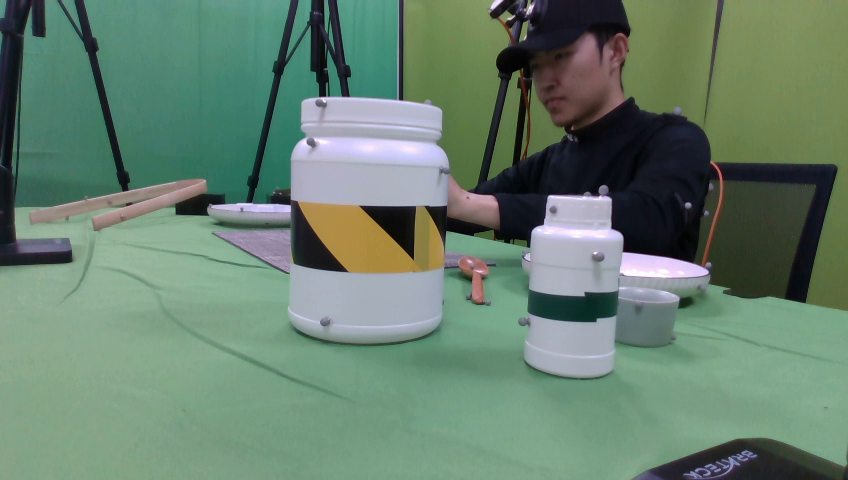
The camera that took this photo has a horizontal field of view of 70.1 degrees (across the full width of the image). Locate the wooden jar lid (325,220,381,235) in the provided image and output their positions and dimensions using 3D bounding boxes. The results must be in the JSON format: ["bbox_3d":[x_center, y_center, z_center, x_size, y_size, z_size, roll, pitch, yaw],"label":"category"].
[{"bbox_3d":[-0.136,-0.025,1.162,0.108,0.020,0.108,3,8,0],"label":"wooden jar lid"}]

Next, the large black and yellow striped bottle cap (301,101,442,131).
[{"bbox_3d":[-0.042,-0.100,0.491,0.115,0.019,0.115,1,8,0],"label":"large black and yellow striped bottle cap"}]

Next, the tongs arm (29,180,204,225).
[{"bbox_3d":[-0.609,-0.083,1.245,0.050,0.026,0.386,5,16,23],"label":"tongs arm"}]

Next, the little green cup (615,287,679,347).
[{"bbox_3d":[0.180,0.064,0.506,0.061,0.038,0.061,2,8,0],"label":"little green cup"}]

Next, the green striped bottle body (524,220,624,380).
[{"bbox_3d":[0.104,0.031,0.422,0.063,0.119,0.063,2,8,0],"label":"green striped bottle body"}]

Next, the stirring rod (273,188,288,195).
[{"bbox_3d":[-0.353,-0.122,1.518,0.006,0.014,0.176,1,7,2],"label":"stirring rod"}]

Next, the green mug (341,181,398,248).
[{"bbox_3d":[-0.090,-0.044,0.997,0.093,0.105,0.125,1,7,-9],"label":"green mug"}]

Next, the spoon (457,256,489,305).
[{"bbox_3d":[0.059,0.044,0.696,0.041,0.021,0.194,21,7,0],"label":"spoon"}]

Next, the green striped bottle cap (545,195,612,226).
[{"bbox_3d":[0.106,-0.020,0.414,0.044,0.020,0.044,2,4,0],"label":"green striped bottle cap"}]

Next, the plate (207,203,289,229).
[{"bbox_3d":[-0.342,-0.050,1.259,0.208,0.039,0.207,2,7,0],"label":"plate"}]

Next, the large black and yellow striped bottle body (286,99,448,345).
[{"bbox_3d":[-0.047,-0.018,0.501,0.131,0.184,0.130,2,7,0],"label":"large black and yellow striped bottle body"}]

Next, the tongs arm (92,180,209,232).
[{"bbox_3d":[-0.534,-0.076,1.221,0.028,0.028,0.388,-2,15,12],"label":"tongs arm"}]

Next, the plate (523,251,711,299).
[{"bbox_3d":[0.219,0.041,0.706,0.209,0.038,0.209,2,7,0],"label":"plate"}]

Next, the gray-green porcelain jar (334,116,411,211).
[{"bbox_3d":[-0.072,-0.108,0.863,0.106,0.106,0.126,2,28,-3],"label":"gray-green porcelain jar"}]
